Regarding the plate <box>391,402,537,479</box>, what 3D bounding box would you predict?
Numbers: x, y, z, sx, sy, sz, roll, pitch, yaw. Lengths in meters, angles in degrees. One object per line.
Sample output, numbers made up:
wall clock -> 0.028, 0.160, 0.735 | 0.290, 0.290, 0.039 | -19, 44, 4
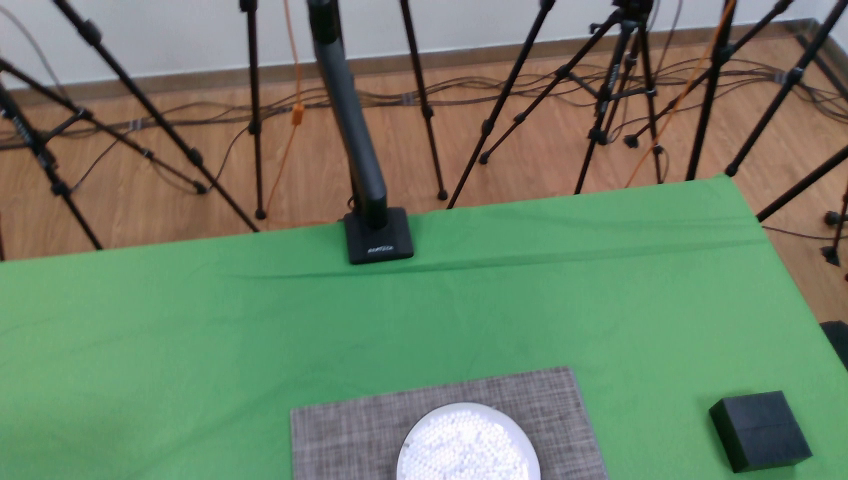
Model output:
plate -> 0.057, 0.338, 0.871 | 0.209, 0.038, 0.207 | 1, 55, -1
